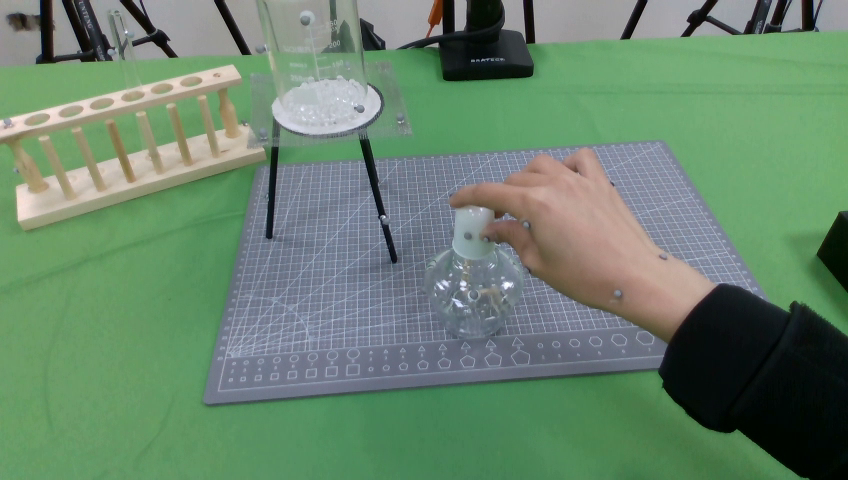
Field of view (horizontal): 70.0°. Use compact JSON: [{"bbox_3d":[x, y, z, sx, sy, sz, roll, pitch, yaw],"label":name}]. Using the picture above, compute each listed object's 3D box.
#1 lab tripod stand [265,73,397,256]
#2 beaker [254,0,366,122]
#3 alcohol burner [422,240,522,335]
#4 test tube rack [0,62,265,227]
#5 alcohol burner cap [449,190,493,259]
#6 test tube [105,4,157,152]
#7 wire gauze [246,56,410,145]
[{"bbox_3d":[-0.079,-0.066,0.534,0.148,0.133,0.147,-1,45,2],"label":"lab tripod stand"},{"bbox_3d":[-0.085,-0.147,0.453,0.084,0.101,0.073,-3,43,1],"label":"beaker"},{"bbox_3d":[0.037,0.015,0.459,0.078,0.120,0.077,-1,41,1],"label":"alcohol burner"},{"bbox_3d":[-0.297,-0.102,0.619,0.243,0.086,0.066,-21,46,-20],"label":"test tube rack"},{"bbox_3d":[0.034,-0.014,0.432,0.034,0.048,0.033,-1,45,1],"label":"alcohol burner cap"},{"bbox_3d":[-0.290,-0.156,0.603,0.017,0.151,0.017,2,37,-1],"label":"test tube"},{"bbox_3d":[-0.081,-0.113,0.489,0.125,0.011,0.120,-10,42,-4],"label":"wire gauze"}]
